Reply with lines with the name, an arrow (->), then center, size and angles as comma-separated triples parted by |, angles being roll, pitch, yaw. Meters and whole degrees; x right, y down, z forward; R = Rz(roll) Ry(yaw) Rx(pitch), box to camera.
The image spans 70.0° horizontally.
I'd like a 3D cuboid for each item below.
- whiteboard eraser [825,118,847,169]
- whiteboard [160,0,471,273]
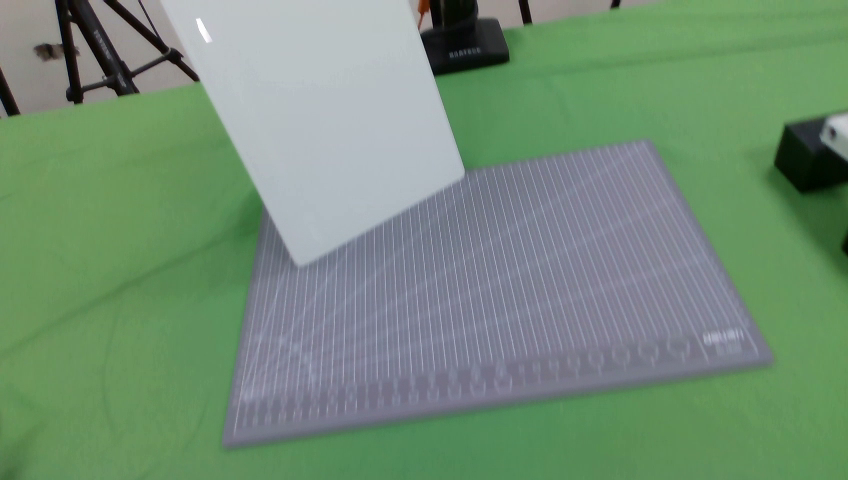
whiteboard eraser -> 0.404, -0.068, 0.517 | 0.055, 0.042, 0.111 | -18, 41, 3
whiteboard -> -0.116, -0.163, 0.641 | 0.217, 0.308, 0.142 | -30, 27, -16
